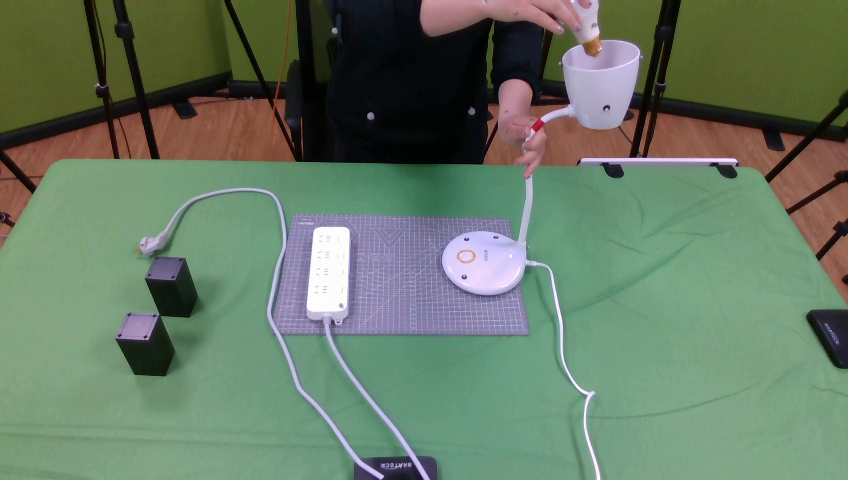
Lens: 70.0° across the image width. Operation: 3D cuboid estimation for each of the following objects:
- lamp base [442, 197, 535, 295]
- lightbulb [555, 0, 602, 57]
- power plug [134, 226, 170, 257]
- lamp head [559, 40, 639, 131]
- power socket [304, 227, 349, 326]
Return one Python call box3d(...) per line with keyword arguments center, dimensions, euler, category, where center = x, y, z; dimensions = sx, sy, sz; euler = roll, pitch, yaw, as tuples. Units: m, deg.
box3d(center=(0.130, -0.012, 1.105), dimensions=(0.179, 0.181, 0.159), euler=(-1, 46, -9), category="lamp base")
box3d(center=(0.230, -0.315, 0.879), dimensions=(0.059, 0.108, 0.059), euler=(-27, 24, 13), category="lightbulb")
box3d(center=(-0.515, 0.006, 1.153), dimensions=(0.052, 0.035, 0.072), euler=(-6, 24, 7), category="power plug")
box3d(center=(0.265, -0.229, 0.929), dimensions=(0.112, 0.123, 0.112), euler=(-4, 37, 3), category="lamp head")
box3d(center=(-0.177, 0.059, 1.115), dimensions=(0.072, 0.033, 0.225), euler=(-1, 46, -4), category="power socket")
